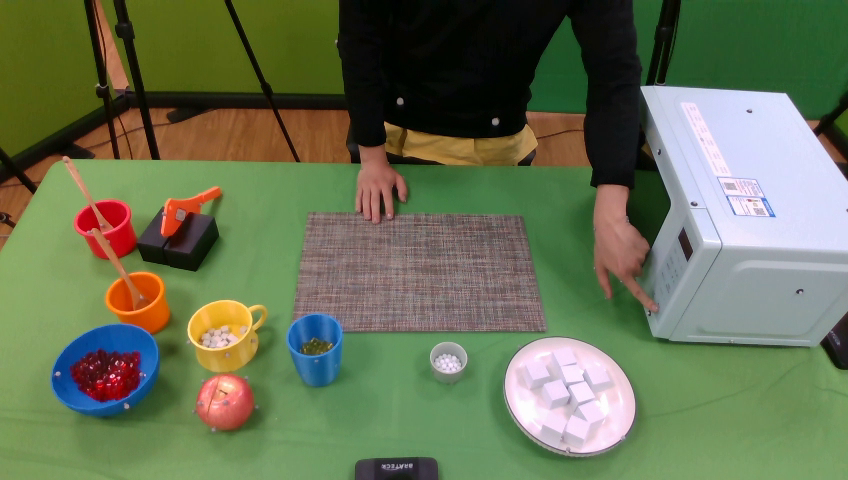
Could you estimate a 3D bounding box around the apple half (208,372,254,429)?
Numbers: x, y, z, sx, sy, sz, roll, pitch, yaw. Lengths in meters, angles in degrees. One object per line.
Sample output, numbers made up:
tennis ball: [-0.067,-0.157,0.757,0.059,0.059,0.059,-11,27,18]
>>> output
apple half: [-0.282,0.244,0.907,0.053,0.075,0.080,7,43,-1]

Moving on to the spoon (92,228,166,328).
spoon: [-0.495,0.063,1.014,0.041,0.194,0.021,-34,12,-32]

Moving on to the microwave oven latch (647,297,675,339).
microwave oven latch: [0.413,0.134,1.061,0.030,0.029,0.078,5,45,2]

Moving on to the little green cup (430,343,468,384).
little green cup: [0.039,0.204,0.993,0.061,0.039,0.061,2,46,-2]

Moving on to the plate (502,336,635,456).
plate: [0.225,0.248,0.963,0.208,0.039,0.206,2,46,-2]

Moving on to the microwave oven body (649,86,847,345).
microwave oven body: [0.568,-0.053,1.118,0.326,0.261,0.439,2,45,-1]

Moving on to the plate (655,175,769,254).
plate: [0.555,-0.046,1.184,0.209,0.038,0.208,2,46,-2]

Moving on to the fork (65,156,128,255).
fork: [-0.614,-0.064,1.130,0.028,0.018,0.207,-29,97,-18]

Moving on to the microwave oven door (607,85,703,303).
microwave oven door: [0.423,-0.094,1.140,0.039,0.245,0.353,2,46,-1]

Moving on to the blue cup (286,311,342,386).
blue cup: [-0.170,0.180,0.958,0.093,0.101,0.092,2,44,-1]

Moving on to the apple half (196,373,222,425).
apple half: [-0.322,0.240,0.907,0.033,0.081,0.081,7,46,-1]

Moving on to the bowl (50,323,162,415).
bowl: [-0.472,0.209,0.924,0.151,0.077,0.150,3,45,-2]

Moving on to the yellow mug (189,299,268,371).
yellow mug: [-0.316,0.148,1.002,0.131,0.064,0.099,-32,57,-31]

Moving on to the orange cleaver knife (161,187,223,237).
orange cleaver knife: [-0.448,-0.058,1.180,0.012,0.077,0.211,13,17,6]
